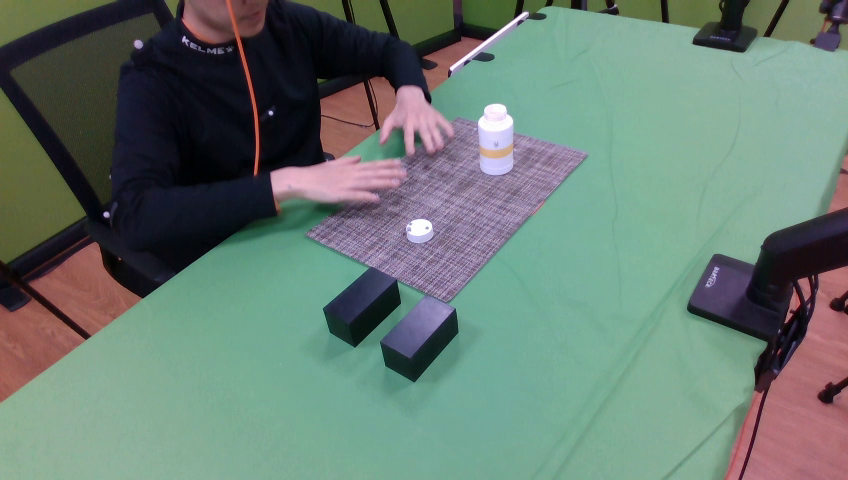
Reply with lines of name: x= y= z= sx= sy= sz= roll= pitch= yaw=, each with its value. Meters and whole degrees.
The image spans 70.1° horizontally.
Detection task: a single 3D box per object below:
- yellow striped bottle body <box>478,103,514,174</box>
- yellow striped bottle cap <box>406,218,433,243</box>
yellow striped bottle body: x=0.129 y=-0.183 z=1.080 sx=0.063 sy=0.121 sz=0.062 roll=-4 pitch=41 yaw=4
yellow striped bottle cap: x=-0.007 y=-0.016 z=0.987 sx=0.044 sy=0.019 sz=0.044 roll=-4 pitch=43 yaw=4
